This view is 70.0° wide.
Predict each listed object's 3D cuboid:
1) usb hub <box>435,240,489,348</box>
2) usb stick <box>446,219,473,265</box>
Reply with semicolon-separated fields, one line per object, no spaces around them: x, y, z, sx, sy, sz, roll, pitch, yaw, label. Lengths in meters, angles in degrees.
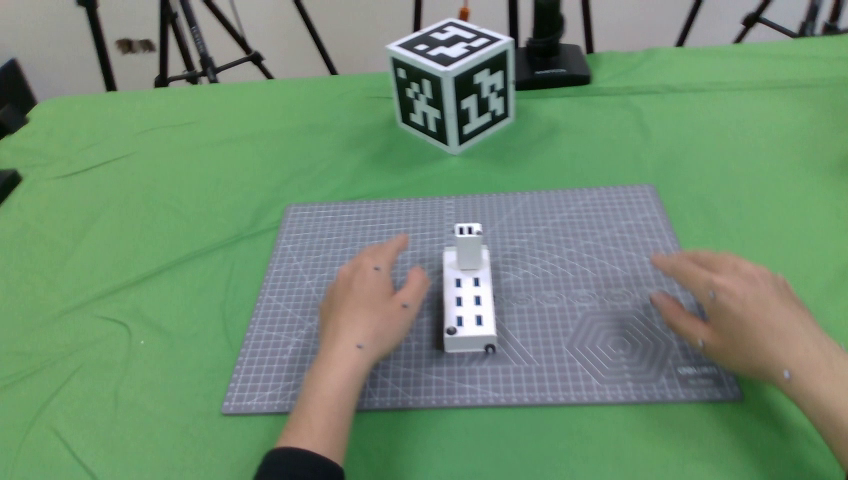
0.035;0.051;0.605;0.049;0.025;0.124;-4;42;5;usb hub
0.036;0.007;0.609;0.027;0.060;0.021;-5;44;3;usb stick
